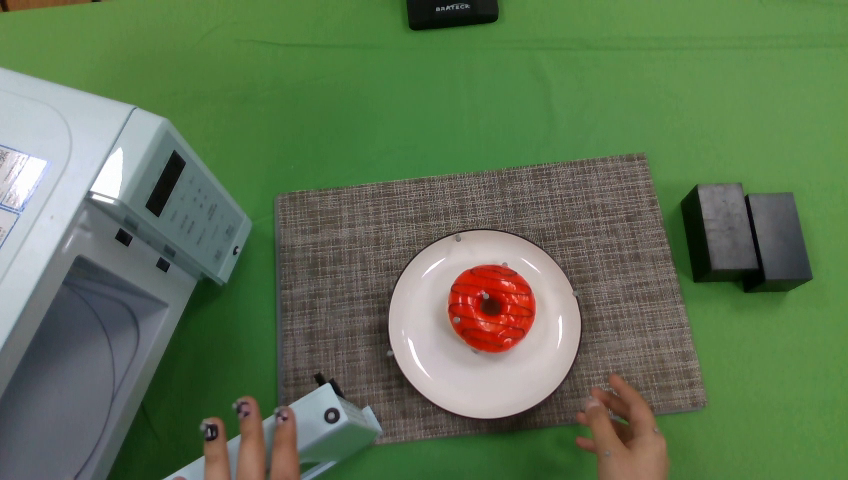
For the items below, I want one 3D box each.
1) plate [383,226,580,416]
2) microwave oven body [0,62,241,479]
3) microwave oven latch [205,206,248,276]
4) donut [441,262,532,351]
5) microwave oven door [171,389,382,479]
[{"bbox_3d":[0.061,0.086,0.660,0.209,0.038,0.207,0,71,1],"label":"plate"},{"bbox_3d":[-0.425,0.083,0.554,0.325,0.261,0.439,17,73,6],"label":"microwave oven body"},{"bbox_3d":[-0.225,-0.001,0.681,0.030,0.029,0.079,18,73,7],"label":"microwave oven latch"},{"bbox_3d":[0.068,0.071,0.653,0.099,0.048,0.098,0,72,-1],"label":"donut"},{"bbox_3d":[-0.207,0.231,0.495,0.356,0.245,0.039,-30,72,-8],"label":"microwave oven door"}]
